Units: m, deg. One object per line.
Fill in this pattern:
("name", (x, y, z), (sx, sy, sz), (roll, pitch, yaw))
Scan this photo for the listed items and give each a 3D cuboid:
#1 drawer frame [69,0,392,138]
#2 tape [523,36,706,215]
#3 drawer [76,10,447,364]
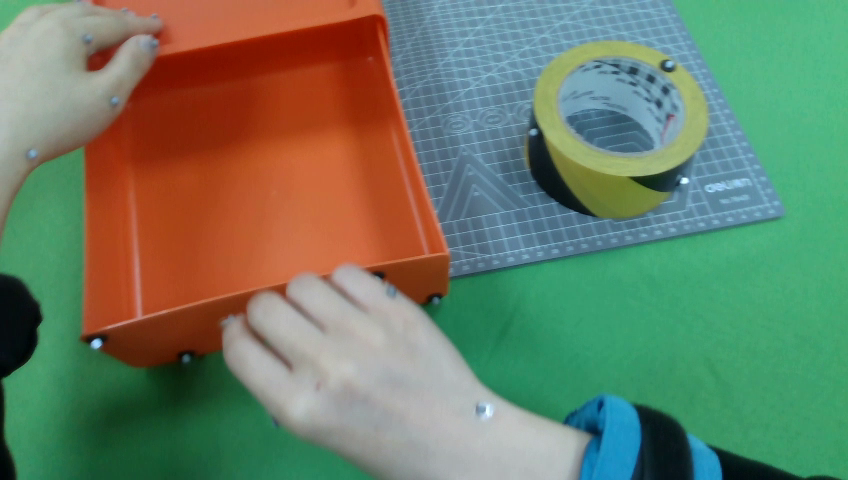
("drawer frame", (-0.144, -0.196, 0.453), (0.202, 0.083, 0.211), (-14, 63, -6))
("tape", (0.126, -0.077, 0.408), (0.117, 0.053, 0.116), (0, 64, 1))
("drawer", (-0.104, -0.046, 0.383), (0.195, 0.074, 0.210), (-13, 65, -5))
